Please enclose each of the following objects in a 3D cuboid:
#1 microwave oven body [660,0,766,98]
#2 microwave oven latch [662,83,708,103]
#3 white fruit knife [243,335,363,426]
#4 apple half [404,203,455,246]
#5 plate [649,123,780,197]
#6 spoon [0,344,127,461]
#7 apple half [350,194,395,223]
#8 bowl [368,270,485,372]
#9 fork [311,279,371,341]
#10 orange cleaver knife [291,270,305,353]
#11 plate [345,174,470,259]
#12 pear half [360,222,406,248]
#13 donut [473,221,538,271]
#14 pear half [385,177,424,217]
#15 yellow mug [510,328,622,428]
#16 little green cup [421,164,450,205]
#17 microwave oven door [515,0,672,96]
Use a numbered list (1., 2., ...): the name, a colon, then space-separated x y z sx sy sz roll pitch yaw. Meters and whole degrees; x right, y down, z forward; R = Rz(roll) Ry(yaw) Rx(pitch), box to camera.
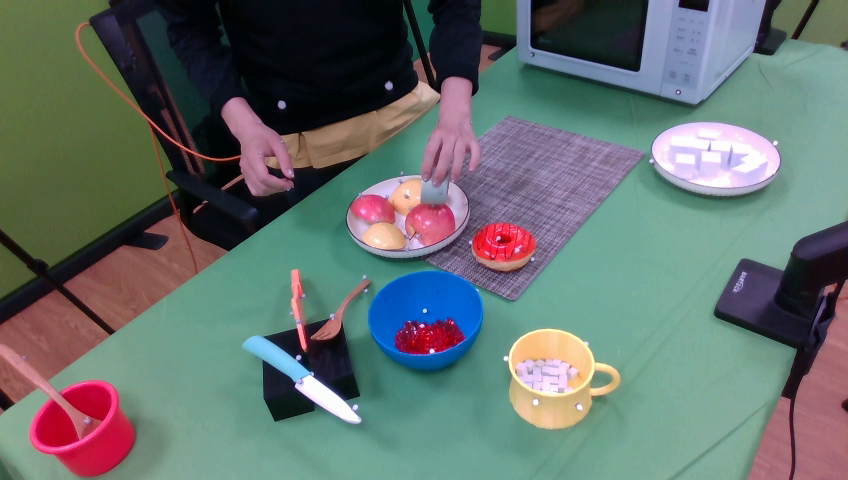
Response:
1. microwave oven body: 0.472 -0.513 1.317 0.438 0.261 0.327 26 51 34
2. microwave oven latch: 0.517 -0.296 1.204 0.078 0.029 0.030 28 52 35
3. white fruit knife: -0.148 0.167 0.730 0.206 0.016 0.027 26 80 31
4. apple half: 0.009 -0.035 0.969 0.075 0.053 0.080 -27 40 -22
5. plate: 0.497 -0.135 1.046 0.207 0.039 0.206 -4 40 4
6. spoon: -0.433 0.191 0.721 0.194 0.021 0.042 47 53 -6
7. apple half: -0.081 -0.058 1.008 0.081 0.033 0.081 12 23 -5
8. bowl: 0.007 0.118 0.791 0.151 0.077 0.150 -5 40 4
9. fork: -0.108 0.092 0.832 0.028 0.019 0.207 -6 19 15
10. orange cleaver knife: -0.175 0.094 0.844 0.012 0.077 0.210 -11 14 -10
11. plate: -0.026 -0.037 1.004 0.209 0.038 0.208 -4 40 4
12. pear half: -0.064 -0.013 0.959 0.071 0.031 0.087 4 22 -24
13. donut: 0.123 0.008 0.923 0.099 0.048 0.098 -3 38 3
14. pear half: -0.030 -0.079 1.033 0.109 0.056 0.076 0 35 15
15. yellow mug: 0.169 0.164 0.722 0.130 0.064 0.099 0 40 8
16. little green cup: 0.018 -0.083 0.926 0.038 0.062 0.061 9 42 2
17. microwave oven door: 0.343 -0.454 1.259 0.353 0.245 0.039 26 51 33
